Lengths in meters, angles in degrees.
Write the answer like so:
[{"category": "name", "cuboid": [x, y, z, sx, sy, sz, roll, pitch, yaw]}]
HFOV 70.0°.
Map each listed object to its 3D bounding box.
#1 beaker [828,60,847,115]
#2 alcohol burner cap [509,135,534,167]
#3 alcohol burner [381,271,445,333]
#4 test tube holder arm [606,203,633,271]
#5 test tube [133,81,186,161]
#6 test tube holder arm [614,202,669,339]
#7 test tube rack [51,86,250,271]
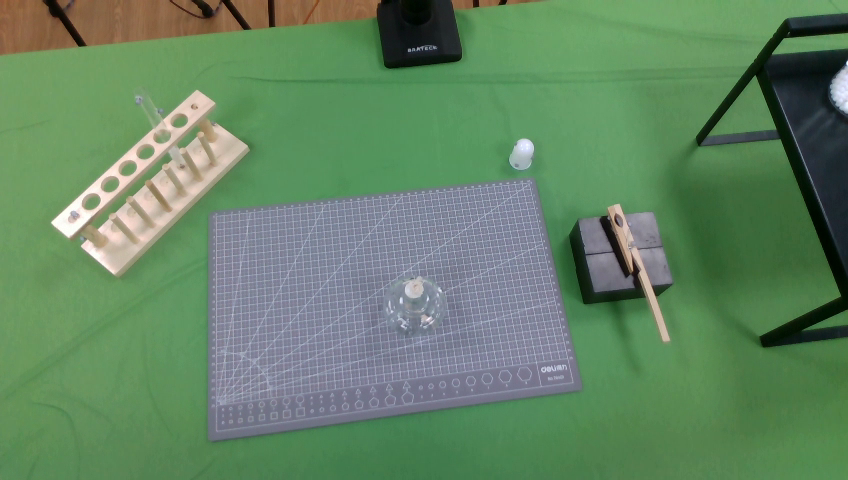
[{"category": "beaker", "cuboid": [0.497, -0.186, 0.655, 0.084, 0.101, 0.073, 21, 69, 8]}, {"category": "alcohol burner cap", "cuboid": [0.138, -0.127, 0.846, 0.034, 0.048, 0.033, 1, 67, -1]}, {"category": "alcohol burner", "cuboid": [-0.013, 0.068, 0.721, 0.078, 0.120, 0.077, 1, 66, -2]}, {"category": "test tube holder arm", "cuboid": [0.247, -0.004, 0.758, 0.010, 0.015, 0.087, -18, 73, 9]}, {"category": "test tube", "cuboid": [-0.328, -0.145, 0.760, 0.017, 0.151, 0.017, 1, 64, -2]}, {"category": "test tube holder arm", "cuboid": [0.265, 0.035, 0.745, 0.013, 0.015, 0.177, -20, 73, 9]}, {"category": "test tube rack", "cuboid": [-0.345, -0.081, 0.788, 0.066, 0.086, 0.242, 36, 71, 13]}]
